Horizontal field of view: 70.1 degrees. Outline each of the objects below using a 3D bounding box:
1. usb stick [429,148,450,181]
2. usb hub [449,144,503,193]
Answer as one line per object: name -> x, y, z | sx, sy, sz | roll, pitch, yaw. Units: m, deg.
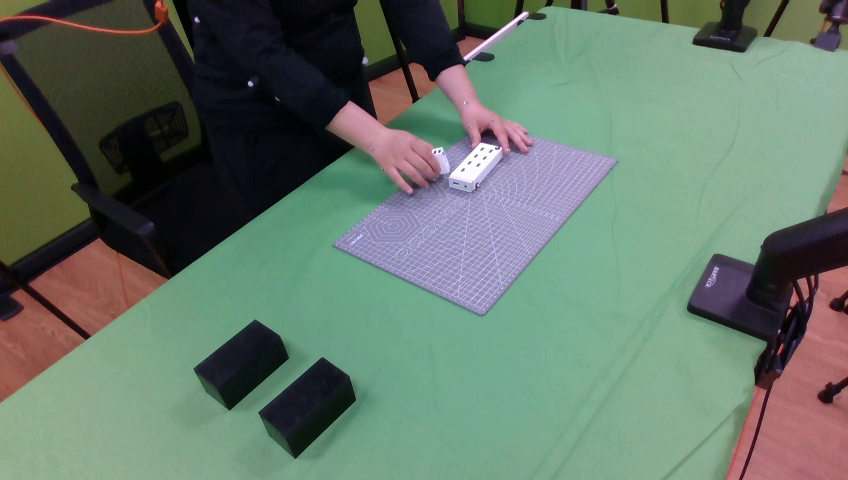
usb stick -> 0.031, -0.134, 1.091 | 0.027, 0.059, 0.021 | -10, 36, 15
usb hub -> 0.096, -0.132, 1.105 | 0.049, 0.025, 0.125 | 18, 46, 27
